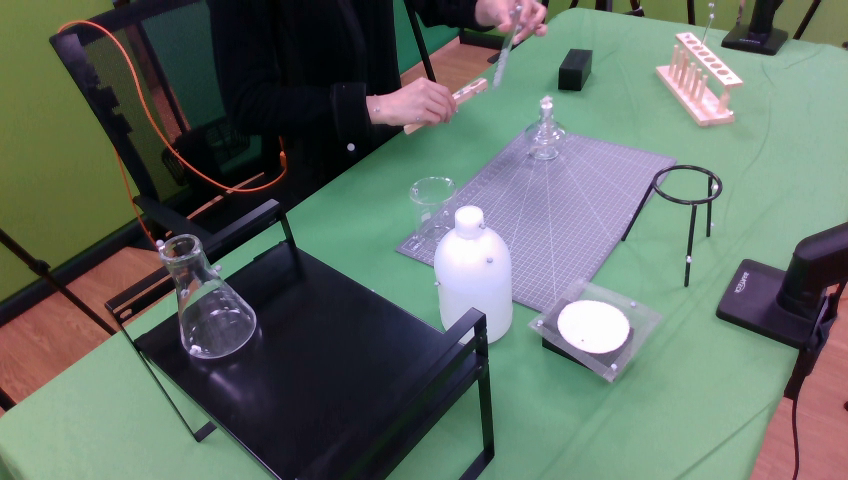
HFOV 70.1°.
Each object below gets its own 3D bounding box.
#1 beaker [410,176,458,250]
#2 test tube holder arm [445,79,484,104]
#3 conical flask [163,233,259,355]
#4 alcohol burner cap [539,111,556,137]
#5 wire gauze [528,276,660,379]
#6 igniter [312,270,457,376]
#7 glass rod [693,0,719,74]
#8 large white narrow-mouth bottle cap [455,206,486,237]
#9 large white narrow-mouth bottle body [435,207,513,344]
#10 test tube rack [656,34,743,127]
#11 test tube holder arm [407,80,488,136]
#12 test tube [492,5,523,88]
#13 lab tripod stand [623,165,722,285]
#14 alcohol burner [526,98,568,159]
[{"bbox_3d":[0.022,-0.041,0.963,0.073,0.101,0.084,28,51,35],"label":"beaker"},{"bbox_3d":[0.072,-0.251,1.039,0.088,0.015,0.010,-37,39,-23],"label":"test tube holder arm"},{"bbox_3d":[-0.216,0.051,0.601,0.075,0.122,0.075,-4,40,4],"label":"conical flask"},{"bbox_3d":[0.243,-0.232,1.196,0.034,0.048,0.033,-5,38,4],"label":"alcohol burner cap"},{"bbox_3d":[0.214,0.103,0.763,0.124,0.011,0.122,30,52,35],"label":"wire gauze"},{"bbox_3d":[-0.068,0.111,0.859,0.274,0.025,0.057,27,61,34],"label":"igniter"},{"bbox_3d":[0.560,-0.401,1.214,0.008,0.200,0.008,-1,48,2],"label":"glass rod"},{"bbox_3d":[0.057,-0.023,0.734,0.038,0.024,0.037,-4,40,4],"label":"large white narrow-mouth bottle cap"},{"bbox_3d":[0.065,0.041,0.791,0.102,0.195,0.101,-4,41,4],"label":"large white narrow-mouth bottle body"},{"bbox_3d":[0.553,-0.330,1.233,0.067,0.085,0.241,-7,40,2],"label":"test tube rack"},{"bbox_3d":[0.042,-0.224,1.017,0.179,0.015,0.013,-37,39,-23],"label":"test tube holder arm"},{"bbox_3d":[0.141,-0.327,1.032,0.017,0.150,0.017,8,44,-7],"label":"test tube"},{"bbox_3d":[0.365,-0.030,0.875,0.148,0.132,0.147,-6,41,6],"label":"lab tripod stand"},{"bbox_3d":[0.228,-0.210,1.118,0.078,0.119,0.077,-5,43,5],"label":"alcohol burner"}]
